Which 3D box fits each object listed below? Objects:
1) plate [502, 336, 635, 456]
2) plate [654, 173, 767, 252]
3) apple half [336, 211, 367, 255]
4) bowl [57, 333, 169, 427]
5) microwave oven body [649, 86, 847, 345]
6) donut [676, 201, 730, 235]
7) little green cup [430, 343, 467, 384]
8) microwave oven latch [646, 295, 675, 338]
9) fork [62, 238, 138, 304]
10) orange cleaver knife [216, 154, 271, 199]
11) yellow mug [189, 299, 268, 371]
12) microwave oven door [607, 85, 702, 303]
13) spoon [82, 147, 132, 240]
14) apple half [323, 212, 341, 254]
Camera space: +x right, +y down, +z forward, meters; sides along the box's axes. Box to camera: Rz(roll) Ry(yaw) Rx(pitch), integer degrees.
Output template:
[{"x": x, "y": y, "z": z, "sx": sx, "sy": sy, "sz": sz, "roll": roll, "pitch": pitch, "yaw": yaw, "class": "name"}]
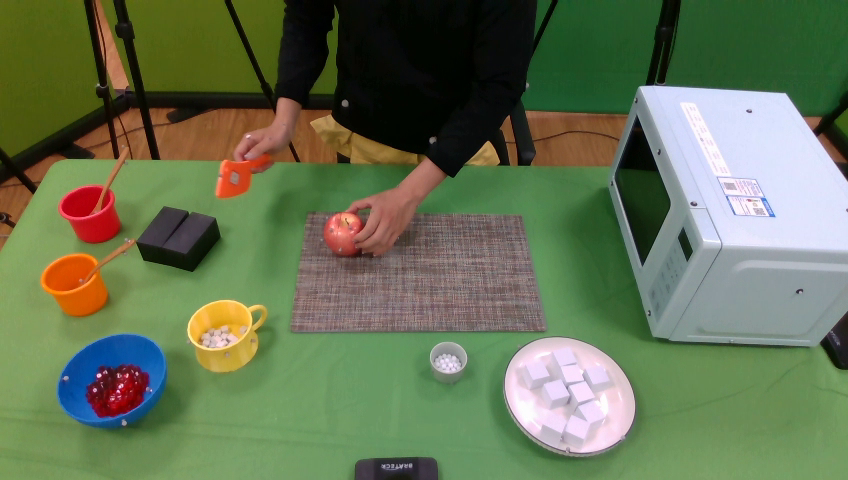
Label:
[{"x": 0.225, "y": 0.248, "z": 0.964, "sx": 0.208, "sy": 0.039, "sz": 0.206, "roll": 2, "pitch": 46, "yaw": -2, "class": "plate"}, {"x": 0.555, "y": -0.050, "z": 1.187, "sx": 0.209, "sy": 0.038, "sz": 0.208, "roll": 1, "pitch": 47, "yaw": -1, "class": "plate"}, {"x": -0.137, "y": -0.010, "z": 1.157, "sx": 0.053, "sy": 0.075, "sz": 0.080, "roll": 7, "pitch": 42, "yaw": -2, "class": "apple half"}, {"x": -0.456, "y": 0.223, "z": 0.911, "sx": 0.151, "sy": 0.077, "sz": 0.150, "roll": 3, "pitch": 45, "yaw": -2, "class": "bowl"}, {"x": 0.568, "y": -0.053, "z": 1.118, "sx": 0.326, "sy": 0.261, "sz": 0.439, "roll": 2, "pitch": 45, "yaw": -1, "class": "microwave oven body"}, {"x": 0.538, "y": -0.044, "z": 1.170, "sx": 0.099, "sy": 0.048, "sz": 0.098, "roll": 4, "pitch": 28, "yaw": -2, "class": "donut"}, {"x": 0.039, "y": 0.203, "z": 0.994, "sx": 0.061, "sy": 0.039, "sz": 0.061, "roll": 2, "pitch": 46, "yaw": -2, "class": "little green cup"}, {"x": 0.412, "y": 0.134, "z": 1.061, "sx": 0.030, "sy": 0.029, "sz": 0.078, "roll": 4, "pitch": 45, "yaw": 1, "class": "microwave oven latch"}, {"x": -0.547, "y": 0.053, "z": 1.018, "sx": 0.207, "sy": 0.019, "sz": 0.028, "roll": -36, "pitch": 41, "yaw": 23, "class": "fork"}, {"x": -0.339, "y": -0.124, "z": 1.149, "sx": 0.012, "sy": 0.077, "sz": 0.211, "roll": 14, "pitch": 17, "yaw": 5, "class": "orange cleaver knife"}, {"x": -0.316, "y": 0.148, "z": 1.002, "sx": 0.131, "sy": 0.064, "sz": 0.099, "roll": -32, "pitch": 56, "yaw": -31, "class": "yellow mug"}, {"x": 0.423, "y": -0.094, "z": 1.141, "sx": 0.039, "sy": 0.245, "sz": 0.353, "roll": 2, "pitch": 46, "yaw": -1, "class": "microwave oven door"}, {"x": -0.602, "y": -0.089, "z": 1.156, "sx": 0.041, "sy": 0.022, "sz": 0.193, "roll": 27, "pitch": 95, "yaw": 20, "class": "spoon"}, {"x": -0.176, "y": -0.012, "z": 1.155, "sx": 0.033, "sy": 0.081, "sz": 0.081, "roll": 5, "pitch": 46, "yaw": -3, "class": "apple half"}]
